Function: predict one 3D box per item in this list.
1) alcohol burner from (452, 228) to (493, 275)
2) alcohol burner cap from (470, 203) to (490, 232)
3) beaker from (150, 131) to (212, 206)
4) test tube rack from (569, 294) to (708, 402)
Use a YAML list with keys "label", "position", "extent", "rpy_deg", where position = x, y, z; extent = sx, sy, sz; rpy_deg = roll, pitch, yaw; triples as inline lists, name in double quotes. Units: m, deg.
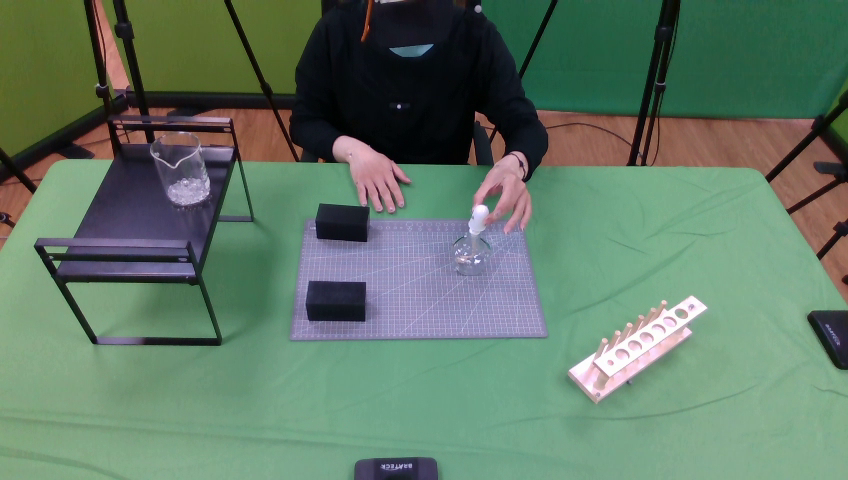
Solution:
- label: "alcohol burner"
  position: [0.091, 0.008, 1.124]
  extent: [0.078, 0.119, 0.077]
  rpy_deg: [2, 48, -2]
- label: "alcohol burner cap"
  position: [0.100, -0.042, 1.068]
  extent: [0.034, 0.048, 0.033]
  rpy_deg: [6, 35, -4]
- label: "beaker"
  position: [-0.385, -0.110, 0.969]
  extent: [0.074, 0.101, 0.083]
  rpy_deg: [-6, 48, -9]
- label: "test tube rack"
  position: [0.360, 0.167, 1.014]
  extent: [0.242, 0.085, 0.066]
  rpy_deg: [-25, 52, -25]
